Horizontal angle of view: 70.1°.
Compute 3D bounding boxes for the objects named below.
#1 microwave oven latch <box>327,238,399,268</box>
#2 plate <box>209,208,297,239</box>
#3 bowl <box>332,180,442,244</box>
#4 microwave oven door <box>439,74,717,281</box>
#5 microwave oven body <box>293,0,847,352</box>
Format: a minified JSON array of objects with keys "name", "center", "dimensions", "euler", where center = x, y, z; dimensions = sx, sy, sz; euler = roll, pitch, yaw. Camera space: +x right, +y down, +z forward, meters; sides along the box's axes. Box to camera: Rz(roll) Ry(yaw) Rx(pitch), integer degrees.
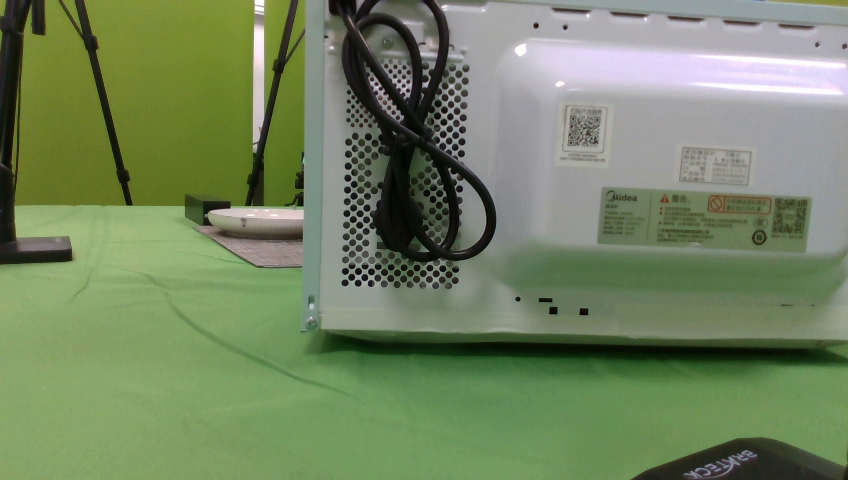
[{"name":"microwave oven latch","center":[-0.069,0.015,0.694],"dimensions":[0.079,0.029,0.030],"euler":[3,7,-3]},{"name":"plate","center":[-0.271,-0.029,1.074],"dimensions":[0.208,0.039,0.207],"euler":[3,7,0]},{"name":"bowl","center":[-0.054,-0.038,0.832],"dimensions":[0.151,0.077,0.151],"euler":[5,6,0]},{"name":"microwave oven door","center":[0.183,-0.089,0.801],"dimensions":[0.354,0.243,0.039],"euler":[7,9,32]},{"name":"microwave oven body","center":[0.122,-0.055,0.550],"dimensions":[0.442,0.260,0.325],"euler":[3,7,-5]}]
